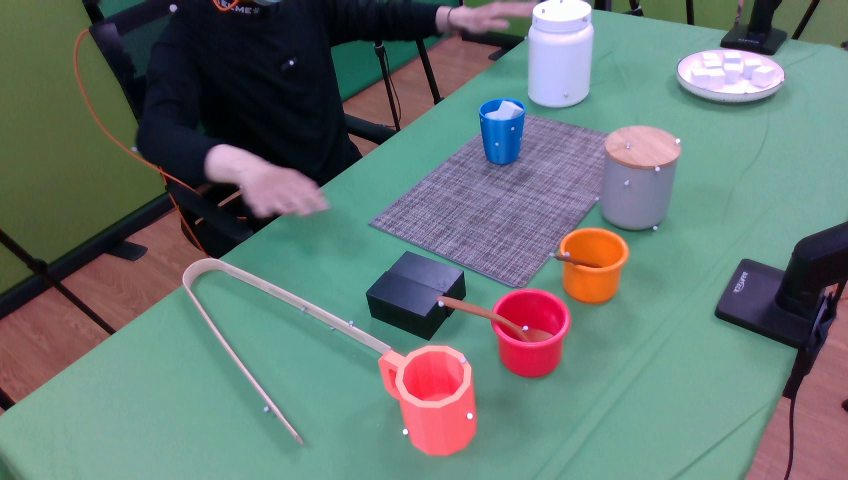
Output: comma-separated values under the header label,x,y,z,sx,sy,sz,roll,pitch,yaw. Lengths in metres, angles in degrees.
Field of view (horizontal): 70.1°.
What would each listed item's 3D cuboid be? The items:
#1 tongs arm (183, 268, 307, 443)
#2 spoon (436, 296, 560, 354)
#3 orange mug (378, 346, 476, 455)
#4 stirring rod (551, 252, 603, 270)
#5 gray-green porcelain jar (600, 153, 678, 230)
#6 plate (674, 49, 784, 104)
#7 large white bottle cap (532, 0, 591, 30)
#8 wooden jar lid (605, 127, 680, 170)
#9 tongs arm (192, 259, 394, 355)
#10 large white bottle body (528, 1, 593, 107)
label,x,y,z,sx,sy,sz,roll,pitch,yaw
tongs arm,-0.260,0.147,0.841,0.028,0.028,0.384,-37,48,-19
spoon,0.095,0.102,0.750,0.195,0.021,0.041,28,30,-28
orange mug,0.002,0.179,0.708,0.125,0.101,0.083,25,50,27
stirring rod,0.211,0.029,0.822,0.014,0.006,0.177,32,11,33
gray-green porcelain jar,0.334,-0.088,0.949,0.106,0.127,0.105,-4,40,4
plate,0.631,-0.336,1.262,0.207,0.039,0.206,-4,41,4
large white bottle cap,0.274,-0.450,1.204,0.115,0.018,0.114,-4,41,4
wooden jar lid,0.327,-0.134,0.909,0.108,0.021,0.108,-2,43,2
tongs arm,-0.205,0.100,0.881,0.382,0.026,0.051,23,54,32
large white bottle body,0.282,-0.386,1.259,0.130,0.185,0.130,-5,41,4
